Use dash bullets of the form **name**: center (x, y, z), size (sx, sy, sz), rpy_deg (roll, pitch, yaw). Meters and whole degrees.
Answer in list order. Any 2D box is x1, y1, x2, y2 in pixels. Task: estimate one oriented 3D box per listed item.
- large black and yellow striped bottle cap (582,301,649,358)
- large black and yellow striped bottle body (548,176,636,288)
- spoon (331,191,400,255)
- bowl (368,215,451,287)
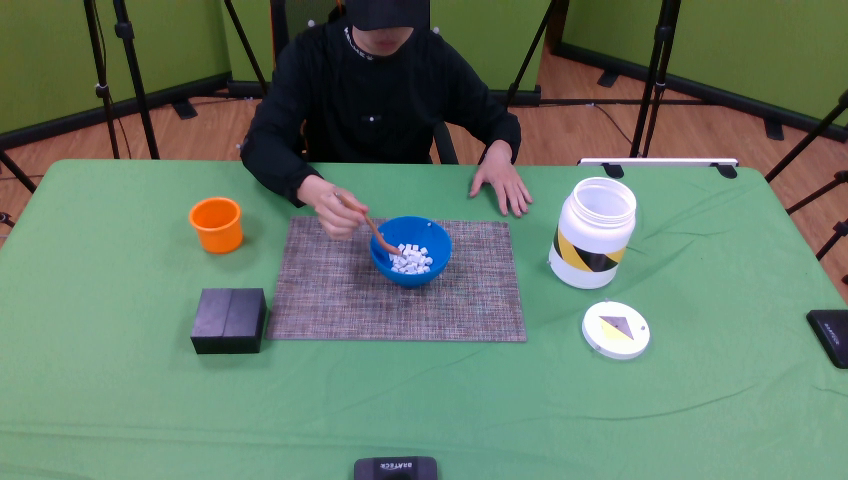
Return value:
- **large black and yellow striped bottle cap**: center (0.340, 0.157, 1.077), size (0.115, 0.019, 0.114), rpy_deg (1, 47, -1)
- **large black and yellow striped bottle body**: center (0.310, -0.014, 1.122), size (0.131, 0.185, 0.130), rpy_deg (2, 46, -2)
- **spoon**: center (-0.099, -0.028, 1.049), size (0.021, 0.195, 0.041), rpy_deg (-42, 42, -3)
- **bowl**: center (-0.028, 0.033, 1.119), size (0.151, 0.077, 0.150), rpy_deg (2, 46, -2)
